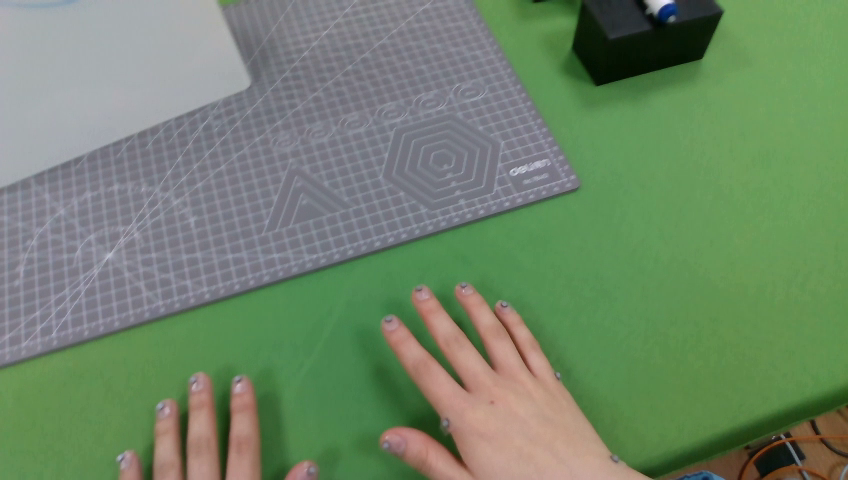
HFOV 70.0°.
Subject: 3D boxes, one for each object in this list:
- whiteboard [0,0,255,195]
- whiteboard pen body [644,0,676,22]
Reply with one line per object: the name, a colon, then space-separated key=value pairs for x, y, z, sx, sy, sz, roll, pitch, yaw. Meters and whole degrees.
whiteboard: x=-0.292 y=-0.225 z=0.425 sx=0.217 sy=0.308 sz=0.142 roll=-26 pitch=43 yaw=-13
whiteboard pen body: x=0.167 y=-0.229 z=0.496 sx=0.017 sy=0.017 sz=0.139 roll=-15 pitch=62 yaw=-7
